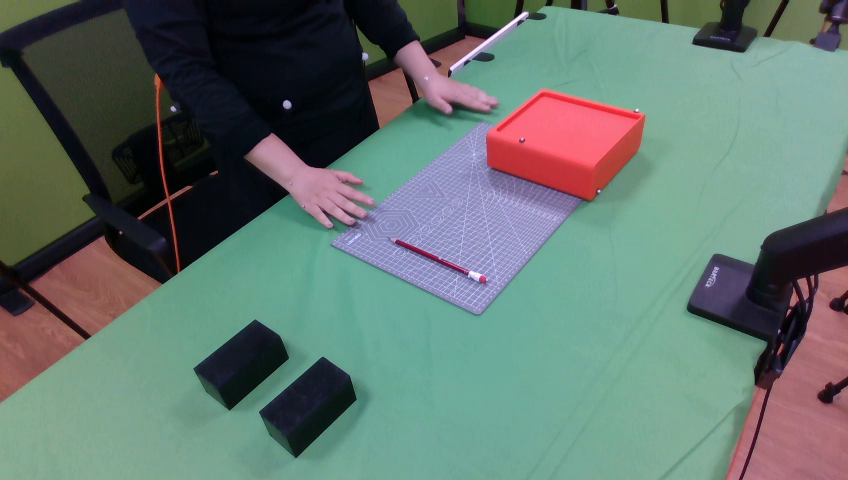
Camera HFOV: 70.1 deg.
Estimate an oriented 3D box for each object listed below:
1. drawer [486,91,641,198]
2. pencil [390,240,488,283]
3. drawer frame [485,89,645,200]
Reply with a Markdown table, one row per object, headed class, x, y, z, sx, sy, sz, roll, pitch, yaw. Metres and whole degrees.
| class | x | y | z | sx | sy | sz | roll | pitch | yaw |
| --- | --- | --- | --- | --- | --- | --- | --- | --- | --- |
| drawer | 0.251 | -0.178 | 1.095 | 0.210 | 0.073 | 0.195 | 25 | 48 | 30 |
| pencil | 0.018 | 0.030 | 0.938 | 0.192 | 0.012 | 0.012 | 22 | 48 | 33 |
| drawer frame | 0.254 | -0.179 | 1.094 | 0.212 | 0.083 | 0.202 | 24 | 48 | 30 |
